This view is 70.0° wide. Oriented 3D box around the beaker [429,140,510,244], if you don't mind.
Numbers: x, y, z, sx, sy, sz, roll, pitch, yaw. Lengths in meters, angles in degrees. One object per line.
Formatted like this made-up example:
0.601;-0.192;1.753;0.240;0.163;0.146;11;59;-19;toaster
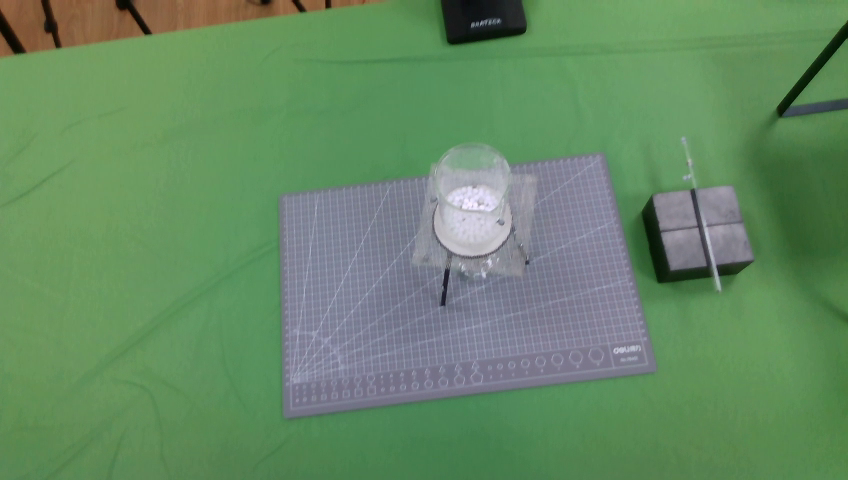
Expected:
0.049;-0.042;0.616;0.074;0.101;0.083;-33;70;-9;beaker

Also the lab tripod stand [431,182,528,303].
0.053;-0.004;0.724;0.148;0.132;0.147;-2;69;5;lab tripod stand

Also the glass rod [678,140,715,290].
0.332;-0.034;0.738;0.008;0.008;0.198;-3;70;2;glass rod

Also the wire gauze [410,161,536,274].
0.055;-0.026;0.661;0.121;0.011;0.124;9;68;6;wire gauze

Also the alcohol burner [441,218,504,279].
0.058;0.004;0.731;0.078;0.120;0.077;-2;70;5;alcohol burner
